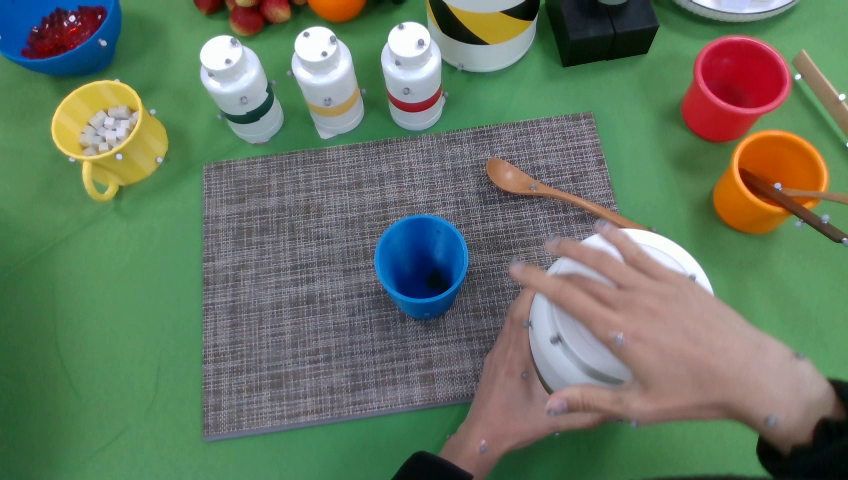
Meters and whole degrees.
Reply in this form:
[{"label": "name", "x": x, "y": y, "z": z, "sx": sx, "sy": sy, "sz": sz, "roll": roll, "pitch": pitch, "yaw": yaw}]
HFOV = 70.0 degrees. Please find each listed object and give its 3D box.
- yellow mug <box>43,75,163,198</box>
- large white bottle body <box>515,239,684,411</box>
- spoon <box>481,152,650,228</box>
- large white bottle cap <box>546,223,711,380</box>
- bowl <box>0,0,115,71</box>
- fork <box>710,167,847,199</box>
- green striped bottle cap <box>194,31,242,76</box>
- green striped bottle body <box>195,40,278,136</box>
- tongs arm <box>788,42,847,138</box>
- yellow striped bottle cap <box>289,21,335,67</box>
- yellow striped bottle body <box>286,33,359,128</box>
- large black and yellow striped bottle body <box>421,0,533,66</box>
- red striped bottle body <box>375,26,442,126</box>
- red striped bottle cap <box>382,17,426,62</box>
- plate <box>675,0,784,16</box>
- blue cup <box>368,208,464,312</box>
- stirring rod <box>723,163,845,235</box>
[{"label": "yellow mug", "x": -0.356, "y": -0.109, "z": 0.670, "sx": 0.100, "sy": 0.064, "sz": 0.130, "roll": 2, "pitch": 70, "yaw": 2}, {"label": "large white bottle body", "x": 0.149, "y": 0.072, "z": 0.516, "sx": 0.130, "sy": 0.186, "sz": 0.129, "roll": -1, "pitch": 69, "yaw": 3}, {"label": "spoon", "x": 0.150, "y": -0.049, "z": 0.648, "sx": 0.193, "sy": 0.022, "sz": 0.041, "roll": 22, "pitch": 47, "yaw": 9}, {"label": "large white bottle cap", "x": 0.146, "y": 0.042, "z": 0.436, "sx": 0.115, "sy": 0.018, "sz": 0.114, "roll": -1, "pitch": 70, "yaw": 2}, {"label": "bowl", "x": -0.432, "y": -0.256, "z": 0.721, "sx": 0.151, "sy": 0.077, "sz": 0.150, "roll": 0, "pitch": 70, "yaw": 1}, {"label": "fork", "x": 0.369, "y": -0.046, "z": 0.574, "sx": 0.028, "sy": 0.019, "sz": 0.205, "roll": -46, "pitch": 30, "yaw": -13}, {"label": "green striped bottle cap", "x": -0.207, "y": -0.187, "z": 0.609, "sx": 0.044, "sy": 0.020, "sz": 0.044, "roll": 0, "pitch": 69, "yaw": 2}, {"label": "green striped bottle body", "x": -0.204, "y": -0.169, "z": 0.658, "sx": 0.063, "sy": 0.120, "sz": 0.063, "roll": -1, "pitch": 69, "yaw": 2}, {"label": "tongs arm", "x": 0.511, "y": -0.061, "z": 0.634, "sx": 0.051, "sy": 0.027, "sz": 0.382, "roll": -20, "pitch": 71, "yaw": -7}, {"label": "yellow striped bottle cap", "x": -0.113, "y": -0.197, "z": 0.609, "sx": 0.044, "sy": 0.019, "sz": 0.044, "roll": 0, "pitch": 71, "yaw": 2}, {"label": "yellow striped bottle body", "x": -0.110, "y": -0.179, "z": 0.657, "sx": 0.063, "sy": 0.121, "sz": 0.062, "roll": -1, "pitch": 69, "yaw": 3}, {"label": "large black and yellow striped bottle body", "x": 0.059, "y": -0.296, "z": 0.660, "sx": 0.131, "sy": 0.185, "sz": 0.130, "roll": -1, "pitch": 70, "yaw": 2}, {"label": "red striped bottle body", "x": -0.016, "y": -0.182, "z": 0.655, "sx": 0.063, "sy": 0.120, "sz": 0.062, "roll": -2, "pitch": 68, "yaw": 6}, {"label": "red striped bottle cap", "x": -0.020, "y": -0.201, "z": 0.606, "sx": 0.044, "sy": 0.018, "sz": 0.044, "roll": 1, "pitch": 68, "yaw": -1}, {"label": "plate", "x": 0.367, "y": -0.358, "z": 0.748, "sx": 0.209, "sy": 0.038, "sz": 0.207, "roll": -1, "pitch": 70, "yaw": 2}, {"label": "blue cup", "x": -0.006, "y": 0.028, "z": 0.583, "sx": 0.092, "sy": 0.101, "sz": 0.092, "roll": 0, "pitch": 69, "yaw": 1}, {"label": "stirring rod", "x": 0.338, "y": -0.044, "z": 0.582, "sx": 0.014, "sy": 0.006, "sz": 0.174, "roll": -6, "pitch": 27, "yaw": -3}]
